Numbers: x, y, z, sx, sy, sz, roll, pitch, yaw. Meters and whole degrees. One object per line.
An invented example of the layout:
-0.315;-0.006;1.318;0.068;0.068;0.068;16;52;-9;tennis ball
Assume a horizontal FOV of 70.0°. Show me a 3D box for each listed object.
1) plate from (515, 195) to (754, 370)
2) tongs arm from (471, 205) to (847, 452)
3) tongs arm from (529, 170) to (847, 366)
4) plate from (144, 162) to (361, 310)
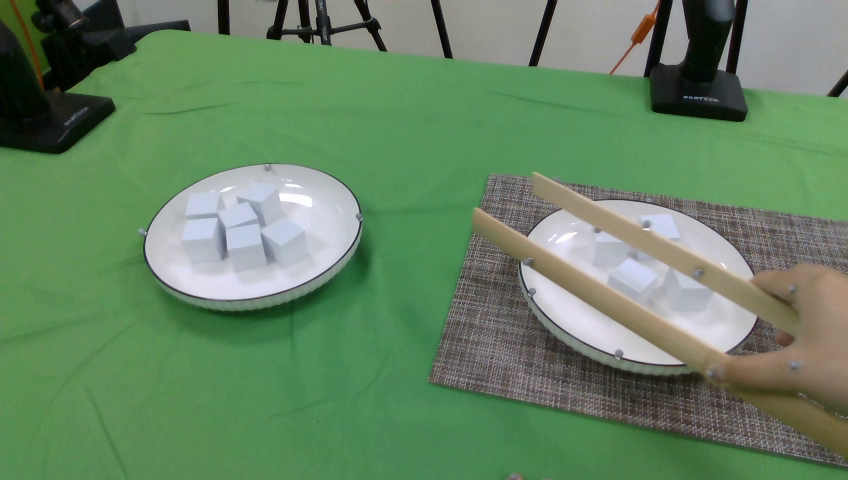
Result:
0.186;0.036;0.554;0.208;0.039;0.205;0;43;1;plate
0.177;0.062;0.411;0.028;0.028;0.384;-31;47;-34;tongs arm
0.210;0.042;0.432;0.051;0.027;0.381;-32;48;-31;tongs arm
-0.166;-0.004;0.608;0.209;0.038;0.207;0;42;0;plate
